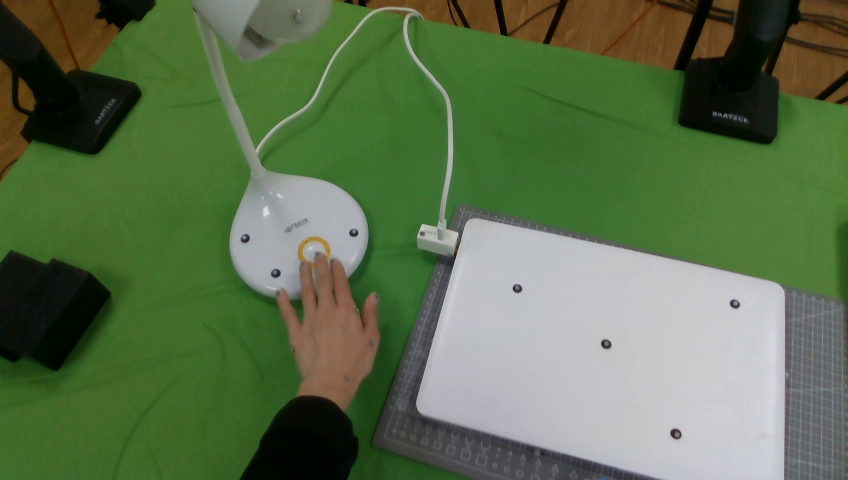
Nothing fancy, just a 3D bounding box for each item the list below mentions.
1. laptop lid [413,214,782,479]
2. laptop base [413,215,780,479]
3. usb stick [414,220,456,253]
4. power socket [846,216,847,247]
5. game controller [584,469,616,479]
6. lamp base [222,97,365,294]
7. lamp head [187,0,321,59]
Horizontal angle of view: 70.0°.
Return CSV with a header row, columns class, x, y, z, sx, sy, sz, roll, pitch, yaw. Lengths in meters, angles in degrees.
class,x,y,z,sx,sy,sz,roll,pitch,yaw
laptop lid,0.185,0.104,0.628,0.356,0.013,0.240,14,64,9
laptop base,0.186,0.108,0.639,0.353,0.023,0.234,12,65,8
usb stick,0.019,-0.002,0.691,0.059,0.027,0.021,16,57,7
power socket,0.505,0.054,0.654,0.072,0.033,0.225,14,61,8
game controller,0.197,0.265,0.533,0.155,0.052,0.096,13,59,8
lamp base,-0.160,-0.055,0.647,0.160,0.182,0.177,-41,64,-20
lamp head,-0.120,-0.192,0.374,0.123,0.112,0.112,42,67,-3
